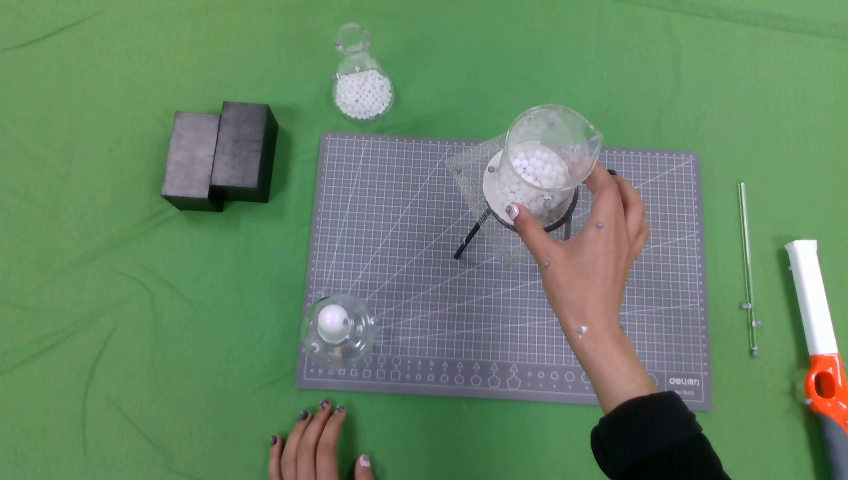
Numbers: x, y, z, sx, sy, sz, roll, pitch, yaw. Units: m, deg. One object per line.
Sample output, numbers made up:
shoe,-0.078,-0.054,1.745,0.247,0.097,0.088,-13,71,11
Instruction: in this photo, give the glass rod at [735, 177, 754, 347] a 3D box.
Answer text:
glass rod,0.366,0.022,0.692,0.008,0.008,0.198,3,76,0

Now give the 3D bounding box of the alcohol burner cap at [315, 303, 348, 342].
alcohol burner cap,-0.089,0.076,0.577,0.034,0.048,0.033,3,68,-7

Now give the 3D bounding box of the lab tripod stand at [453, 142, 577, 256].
lab tripod stand,0.097,-0.033,0.634,0.148,0.132,0.147,0,78,0

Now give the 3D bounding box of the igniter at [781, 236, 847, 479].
igniter,0.431,0.131,0.657,0.057,0.025,0.275,-1,76,-12

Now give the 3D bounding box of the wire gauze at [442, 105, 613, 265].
wire gauze,0.098,-0.053,0.571,0.125,0.011,0.121,-25,81,-8

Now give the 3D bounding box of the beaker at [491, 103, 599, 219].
beaker,0.099,-0.064,0.524,0.084,0.100,0.073,-17,78,-5

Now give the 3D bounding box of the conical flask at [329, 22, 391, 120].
conical flask,-0.076,-0.193,0.678,0.075,0.122,0.075,0,75,-1

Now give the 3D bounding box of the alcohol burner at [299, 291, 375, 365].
alcohol burner,-0.090,0.087,0.611,0.078,0.119,0.077,1,74,-2
